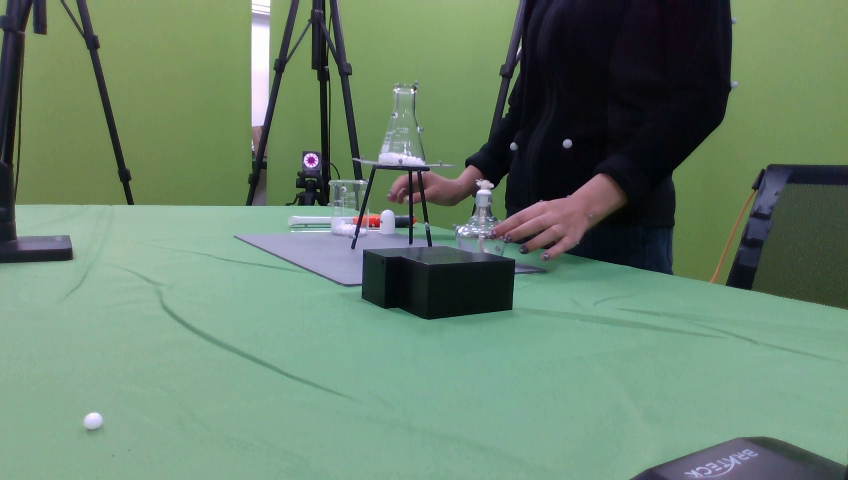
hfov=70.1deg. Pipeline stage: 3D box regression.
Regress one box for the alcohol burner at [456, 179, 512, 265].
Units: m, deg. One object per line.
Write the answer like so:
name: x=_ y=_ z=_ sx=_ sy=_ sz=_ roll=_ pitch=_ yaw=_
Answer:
alcohol burner: x=0.084 y=-0.026 z=0.844 sx=0.078 sy=0.119 sz=0.078 roll=0 pitch=8 yaw=0

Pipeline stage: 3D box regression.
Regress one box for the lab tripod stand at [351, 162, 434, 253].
lab tripod stand: x=-0.034 y=-0.052 z=0.933 sx=0.148 sy=0.131 sz=0.148 roll=4 pitch=7 yaw=0

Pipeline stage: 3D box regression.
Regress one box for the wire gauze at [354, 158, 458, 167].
wire gauze: x=-0.029 y=-0.117 z=0.927 sx=0.122 sy=0.011 sz=0.124 roll=0 pitch=5 yaw=-36

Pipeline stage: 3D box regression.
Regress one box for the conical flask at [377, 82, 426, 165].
conical flask: x=-0.032 y=-0.175 z=0.918 sx=0.075 sy=0.122 sz=0.075 roll=3 pitch=8 yaw=0

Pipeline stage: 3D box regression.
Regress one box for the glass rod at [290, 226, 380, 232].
glass rod: x=-0.161 y=-0.022 z=1.177 sx=0.201 sy=0.008 sz=0.008 roll=-2 pitch=8 yaw=-28

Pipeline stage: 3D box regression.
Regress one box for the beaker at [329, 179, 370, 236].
beaker: x=-0.137 y=-0.061 z=1.101 sx=0.084 sy=0.100 sz=0.074 roll=4 pitch=7 yaw=20

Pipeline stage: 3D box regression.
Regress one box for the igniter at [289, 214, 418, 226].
igniter: x=-0.141 y=-0.042 z=1.258 sx=0.278 sy=0.025 sz=0.057 roll=-1 pitch=-2 yaw=-30

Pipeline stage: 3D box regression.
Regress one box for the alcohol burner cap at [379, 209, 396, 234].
alcohol burner cap: x=-0.069 y=-0.036 z=1.154 sx=0.034 sy=0.048 sz=0.034 roll=3 pitch=7 yaw=0
